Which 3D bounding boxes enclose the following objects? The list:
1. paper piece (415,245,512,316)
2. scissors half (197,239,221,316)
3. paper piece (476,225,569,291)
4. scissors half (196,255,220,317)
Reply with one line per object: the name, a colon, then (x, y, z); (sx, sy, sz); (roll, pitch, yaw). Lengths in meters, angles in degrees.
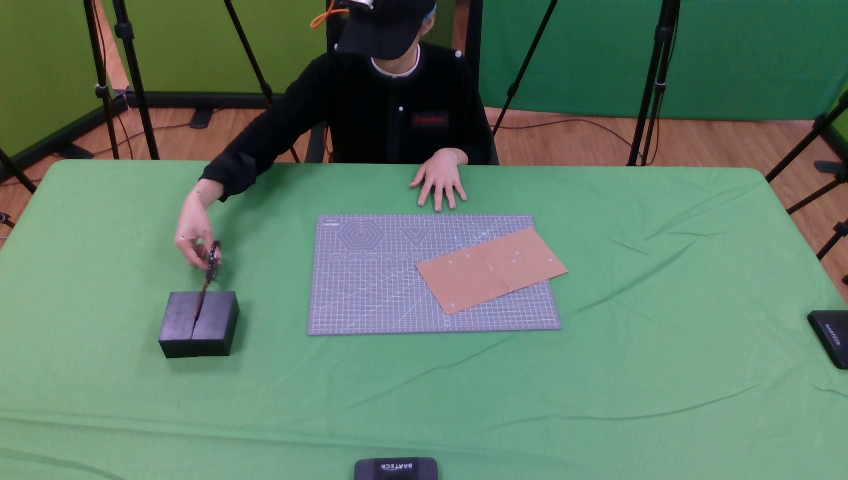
paper piece: (0.072, 0.071, 1.140); (0.138, 0.009, 0.135); (-18, 46, -18)
scissors half: (-0.373, 0.063, 1.050); (0.013, 0.040, 0.174); (11, 46, -13)
paper piece: (0.192, 0.033, 1.185); (0.136, 0.004, 0.134); (-17, 51, -19)
scissors half: (-0.378, 0.078, 1.062); (0.013, 0.040, 0.174); (6, 29, -10)
